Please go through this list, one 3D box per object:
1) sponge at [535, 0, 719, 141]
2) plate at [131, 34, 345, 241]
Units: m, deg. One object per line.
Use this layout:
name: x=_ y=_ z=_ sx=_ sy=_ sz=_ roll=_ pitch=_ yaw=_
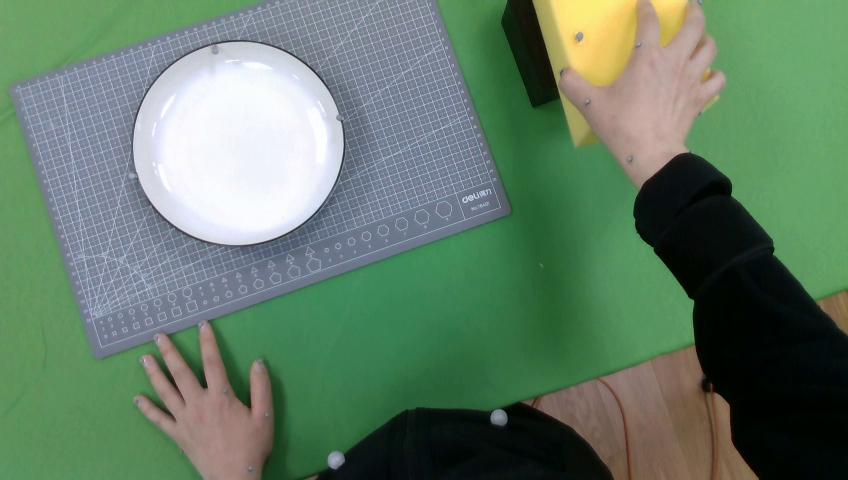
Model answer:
sponge: x=0.175 y=-0.209 z=0.561 sx=0.118 sy=0.061 sz=0.206 roll=-15 pitch=84 yaw=2
plate: x=-0.183 y=-0.101 z=0.613 sx=0.209 sy=0.038 sz=0.208 roll=0 pitch=86 yaw=-2
